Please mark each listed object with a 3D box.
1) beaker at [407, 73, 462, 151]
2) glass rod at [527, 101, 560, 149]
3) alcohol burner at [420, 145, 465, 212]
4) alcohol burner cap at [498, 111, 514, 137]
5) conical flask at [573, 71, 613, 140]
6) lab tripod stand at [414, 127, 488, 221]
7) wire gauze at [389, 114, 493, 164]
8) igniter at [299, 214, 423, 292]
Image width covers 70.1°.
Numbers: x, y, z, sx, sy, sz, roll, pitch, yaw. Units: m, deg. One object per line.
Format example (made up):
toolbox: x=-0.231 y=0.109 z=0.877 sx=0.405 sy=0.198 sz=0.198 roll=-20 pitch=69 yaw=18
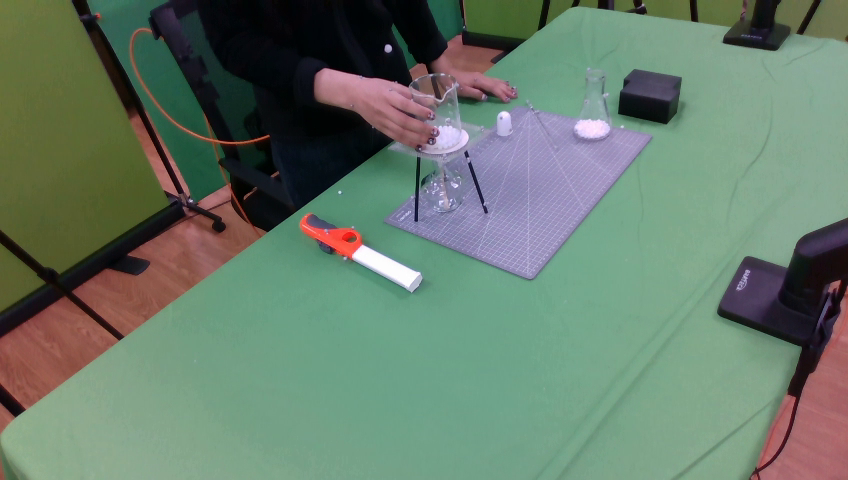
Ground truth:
beaker: x=0.021 y=-0.196 z=0.943 sx=0.074 sy=0.101 sz=0.083 roll=-17 pitch=40 yaw=-7
glass rod: x=0.240 y=-0.237 z=1.223 sx=0.008 sy=0.008 sz=0.198 roll=-12 pitch=40 yaw=-2
alcohol burner: x=0.030 y=-0.108 z=1.030 sx=0.078 sy=0.119 sz=0.077 roll=-5 pitch=38 yaw=4
alcohol burner cap: x=0.163 y=-0.234 z=1.211 sx=0.034 sy=0.048 sz=0.033 roll=-6 pitch=40 yaw=6
conical flask: x=0.321 y=-0.256 z=1.142 sx=0.075 sy=0.122 sz=0.075 roll=-5 pitch=40 yaw=5
lab tripod stand: x=0.035 y=-0.114 z=1.021 sx=0.148 sy=0.132 sz=0.147 roll=-7 pitch=39 yaw=6
wire gauze: x=0.027 y=-0.163 z=0.978 sx=0.120 sy=0.011 sz=0.125 roll=22 pitch=50 yaw=36
igniter: x=-0.112 y=0.016 z=0.983 sx=0.274 sy=0.025 sz=0.057 roll=25 pitch=62 yaw=35
